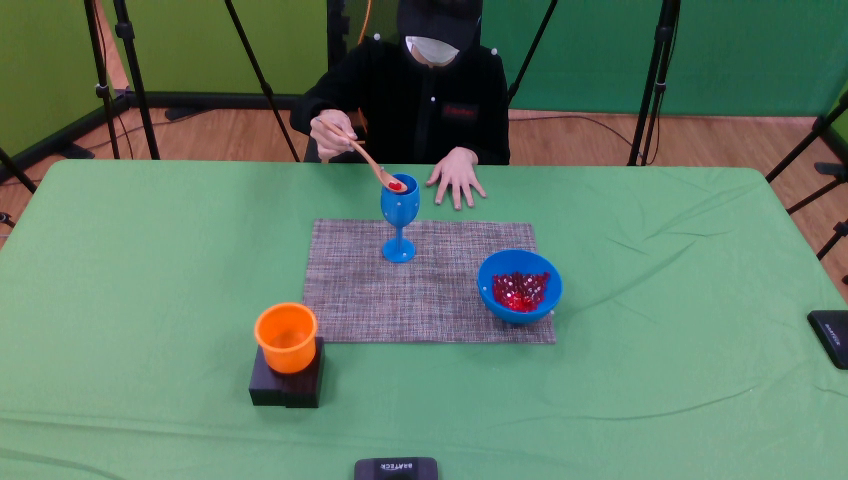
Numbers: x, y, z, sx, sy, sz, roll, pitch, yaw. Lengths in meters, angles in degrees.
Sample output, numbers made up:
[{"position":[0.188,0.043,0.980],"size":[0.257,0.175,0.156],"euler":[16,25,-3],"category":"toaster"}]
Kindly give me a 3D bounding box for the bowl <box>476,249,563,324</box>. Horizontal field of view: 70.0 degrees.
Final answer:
[{"position":[0.163,0.096,1.073],"size":[0.151,0.077,0.150],"euler":[2,45,-2],"category":"bowl"}]

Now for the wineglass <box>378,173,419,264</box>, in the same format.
[{"position":[-0.047,-0.037,1.121],"size":[0.074,0.173,0.073],"euler":[2,46,-2],"category":"wineglass"}]

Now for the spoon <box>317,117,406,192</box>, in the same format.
[{"position":[-0.108,-0.146,1.038],"size":[0.194,0.021,0.041],"euler":[44,23,-4],"category":"spoon"}]
